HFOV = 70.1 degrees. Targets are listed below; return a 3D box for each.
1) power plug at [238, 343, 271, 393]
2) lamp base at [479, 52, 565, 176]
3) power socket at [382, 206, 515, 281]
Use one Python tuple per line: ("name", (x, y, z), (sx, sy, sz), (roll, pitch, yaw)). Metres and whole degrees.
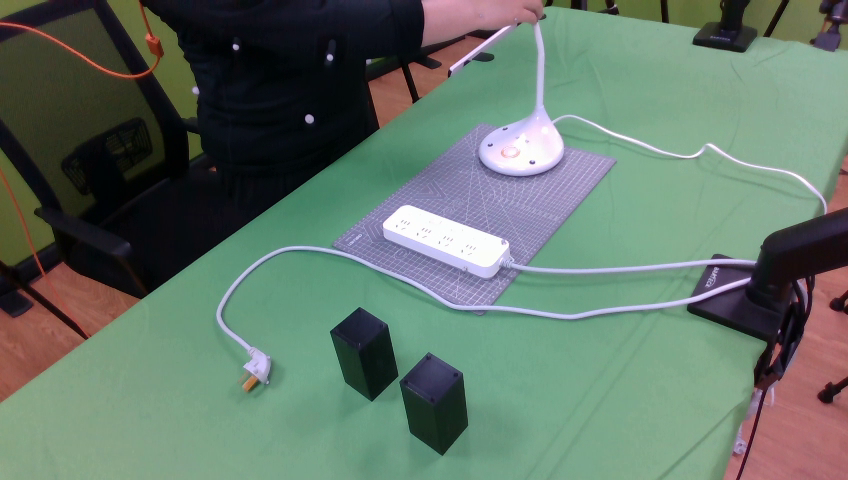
("power plug", (-0.230, 0.172, 0.800), (0.072, 0.035, 0.053), (7, 50, 48))
("lamp base", (0.181, -0.235, 1.094), (0.159, 0.181, 0.179), (18, 44, 27))
("power socket", (0.032, 0.002, 0.950), (0.225, 0.033, 0.072), (21, 49, 29))
